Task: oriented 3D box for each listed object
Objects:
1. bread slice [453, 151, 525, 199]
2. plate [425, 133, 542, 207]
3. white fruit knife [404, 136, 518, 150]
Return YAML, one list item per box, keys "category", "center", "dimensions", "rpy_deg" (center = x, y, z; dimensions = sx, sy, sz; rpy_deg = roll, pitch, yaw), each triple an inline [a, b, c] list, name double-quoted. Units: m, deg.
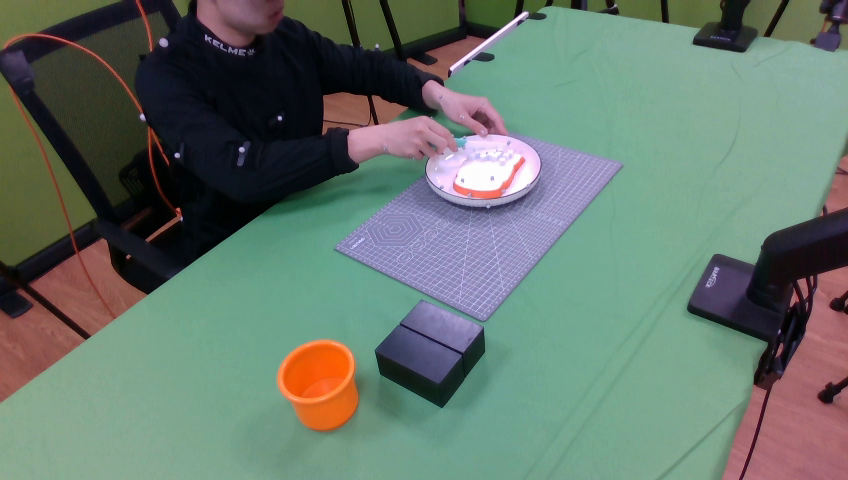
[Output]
- category: "bread slice"
  center: [0.112, -0.118, 1.079]
  dimensions: [0.104, 0.019, 0.131]
  rpy_deg: [11, 42, 21]
- category: "plate"
  center: [0.106, -0.121, 1.079]
  dimensions: [0.209, 0.038, 0.208]
  rpy_deg: [-4, 41, 4]
- category: "white fruit knife"
  center: [0.069, -0.174, 1.096]
  dimensions: [0.208, 0.027, 0.016]
  rpy_deg: [2, 53, -5]
